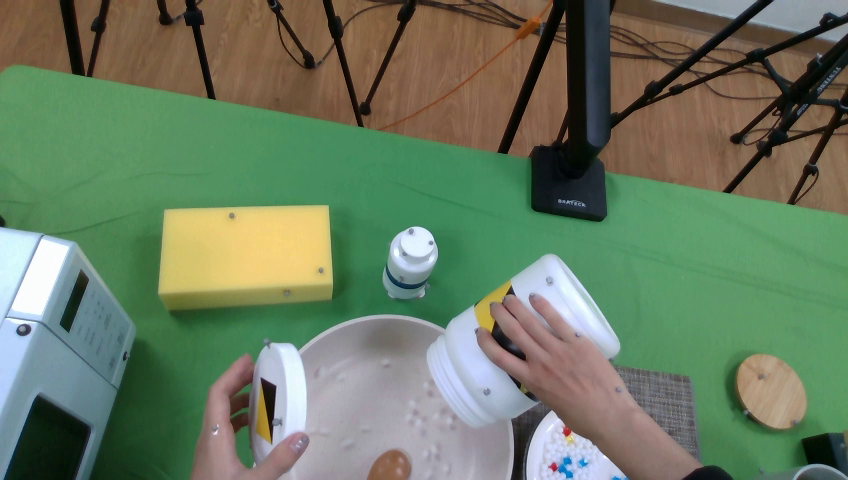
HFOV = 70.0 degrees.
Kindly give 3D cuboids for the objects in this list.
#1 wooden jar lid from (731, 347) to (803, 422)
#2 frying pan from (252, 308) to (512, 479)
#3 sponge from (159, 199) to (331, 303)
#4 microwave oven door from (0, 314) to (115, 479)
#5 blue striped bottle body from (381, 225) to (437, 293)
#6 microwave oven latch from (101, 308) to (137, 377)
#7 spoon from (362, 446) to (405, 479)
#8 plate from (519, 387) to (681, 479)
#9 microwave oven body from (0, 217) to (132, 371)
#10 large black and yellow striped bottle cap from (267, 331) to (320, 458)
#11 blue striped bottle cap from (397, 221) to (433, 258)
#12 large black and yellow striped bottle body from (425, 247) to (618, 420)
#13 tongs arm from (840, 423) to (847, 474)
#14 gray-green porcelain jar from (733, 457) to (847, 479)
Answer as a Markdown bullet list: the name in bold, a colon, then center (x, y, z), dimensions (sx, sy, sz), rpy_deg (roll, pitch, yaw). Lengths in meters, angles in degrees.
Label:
- **wooden jar lid**: center (0.490, 0.208, 0.873), dimensions (0.108, 0.021, 0.107), rpy_deg (4, 65, -9)
- **frying pan**: center (-0.011, 0.311, 0.667), dimensions (0.307, 0.103, 0.483), rpy_deg (-12, 59, -16)
- **sponge**: center (-0.229, 0.013, 0.794), dimensions (0.207, 0.061, 0.117), rpy_deg (-3, 65, -14)
- **microwave oven door**: center (-0.369, 0.266, 0.519), dimensions (0.039, 0.245, 0.353), rpy_deg (10, 62, -7)
- **blue striped bottle body**: center (-0.020, 0.021, 0.800), dimensions (0.063, 0.121, 0.062), rpy_deg (5, 63, -9)
- **microwave oven latch**: center (-0.360, 0.118, 0.708), dimensions (0.030, 0.029, 0.078), rpy_deg (10, 64, -7)
- **spoon**: center (-0.085, 0.291, 0.670), dimensions (0.041, 0.021, 0.194), rpy_deg (56, 37, 6)
- **plate**: center (0.217, 0.292, 0.761), dimensions (0.210, 0.038, 0.207), rpy_deg (5, 64, -9)
- **microwave oven body**: center (-0.507, 0.206, 0.525), dimensions (0.327, 0.261, 0.438), rpy_deg (10, 63, -7)
- **large black and yellow striped bottle cap**: center (-0.118, 0.140, 0.552), dimensions (0.019, 0.116, 0.114), rpy_deg (-15, 67, -6)
- **blue striped bottle cap**: center (-0.011, -0.002, 0.754), dimensions (0.045, 0.021, 0.044), rpy_deg (4, 60, -7)
- **large black and yellow striped bottle body**: center (0.104, 0.109, 0.678), dimensions (0.184, 0.131, 0.130), rpy_deg (-37, 72, 14)
- **tongs arm**: center (0.568, 0.424, 0.742), dimensions (0.051, 0.026, 0.382), rpy_deg (5, 74, -11)
- **gray-green porcelain jar**: center (0.448, 0.329, 0.745), dimensions (0.106, 0.127, 0.105), rpy_deg (5, 63, -9)
